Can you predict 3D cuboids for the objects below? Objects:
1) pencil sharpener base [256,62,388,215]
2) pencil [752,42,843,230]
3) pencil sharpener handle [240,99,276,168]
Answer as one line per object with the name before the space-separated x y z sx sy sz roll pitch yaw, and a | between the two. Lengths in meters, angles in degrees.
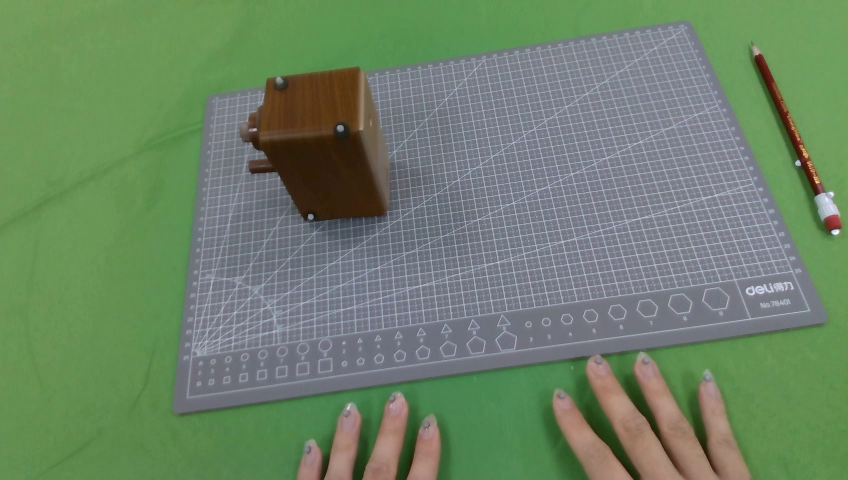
pencil sharpener base | -0.072 -0.071 0.453 0.076 0.108 0.061 -5 60 5
pencil | 0.291 -0.091 0.481 0.012 0.012 0.192 -5 59 5
pencil sharpener handle | -0.125 -0.074 0.447 0.030 0.068 0.035 -5 65 5
